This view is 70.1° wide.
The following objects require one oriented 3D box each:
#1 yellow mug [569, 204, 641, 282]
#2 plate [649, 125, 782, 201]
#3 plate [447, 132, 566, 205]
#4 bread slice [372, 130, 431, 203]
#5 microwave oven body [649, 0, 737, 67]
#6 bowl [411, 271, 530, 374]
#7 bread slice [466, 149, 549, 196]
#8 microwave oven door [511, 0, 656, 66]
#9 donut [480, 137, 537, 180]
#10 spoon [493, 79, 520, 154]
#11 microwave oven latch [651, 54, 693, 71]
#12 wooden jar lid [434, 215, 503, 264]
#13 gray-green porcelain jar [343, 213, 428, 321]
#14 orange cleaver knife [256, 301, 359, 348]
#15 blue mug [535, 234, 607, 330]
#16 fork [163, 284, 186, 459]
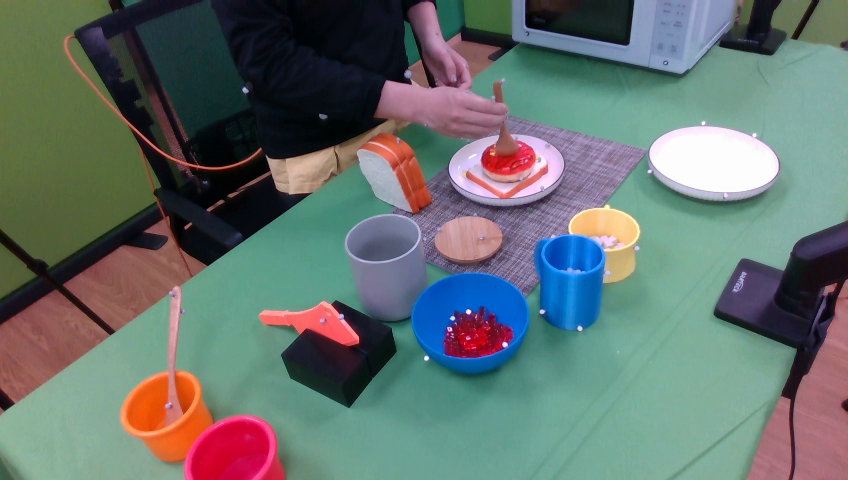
[{"bbox_3d":[0.268,-0.005,0.904,0.099,0.064,0.130,7,42,15],"label":"yellow mug"},{"bbox_3d":[0.493,-0.127,1.036,0.207,0.039,0.206,-4,41,4],"label":"plate"},{"bbox_3d":[0.146,-0.124,1.076,0.209,0.038,0.208,-4,41,4],"label":"plate"},{"bbox_3d":[-0.042,-0.127,1.039,0.106,0.135,0.018,29,62,33],"label":"bread slice"},{"bbox_3d":[0.475,-0.602,1.411,0.438,0.261,0.327,23,50,32],"label":"microwave oven body"},{"bbox_3d":[0.062,0.120,0.780,0.151,0.077,0.150,-4,40,4],"label":"bowl"},{"bbox_3d":[0.156,-0.129,1.084,0.132,0.019,0.104,-33,48,-24],"label":"bread slice"},{"bbox_3d":[0.351,-0.540,1.349,0.353,0.245,0.039,24,50,31],"label":"microwave oven door"},{"bbox_3d":[0.147,-0.144,1.057,0.099,0.048,0.098,-3,42,4],"label":"donut"},{"bbox_3d":[0.124,-0.190,0.954,0.041,0.195,0.021,-6,60,11],"label":"spoon"},{"bbox_3d":[0.532,-0.386,1.301,0.078,0.029,0.030,26,51,33],"label":"microwave oven latch"},{"bbox_3d":[0.070,0.001,0.956,0.108,0.021,0.108,-4,40,4],"label":"wooden jar lid"},{"bbox_3d":[-0.049,0.042,0.849,0.106,0.127,0.105,-4,41,4],"label":"gray-green porcelain jar"},{"bbox_3d":[-0.160,0.115,0.813,0.210,0.077,0.012,-9,29,48],"label":"orange cleaver knife"},{"bbox_3d":[0.191,0.048,0.824,0.082,0.106,0.115,-26,44,-20],"label":"blue mug"},{"bbox_3d":[-0.302,0.157,0.733,0.028,0.019,0.207,-4,84,16],"label":"fork"}]
